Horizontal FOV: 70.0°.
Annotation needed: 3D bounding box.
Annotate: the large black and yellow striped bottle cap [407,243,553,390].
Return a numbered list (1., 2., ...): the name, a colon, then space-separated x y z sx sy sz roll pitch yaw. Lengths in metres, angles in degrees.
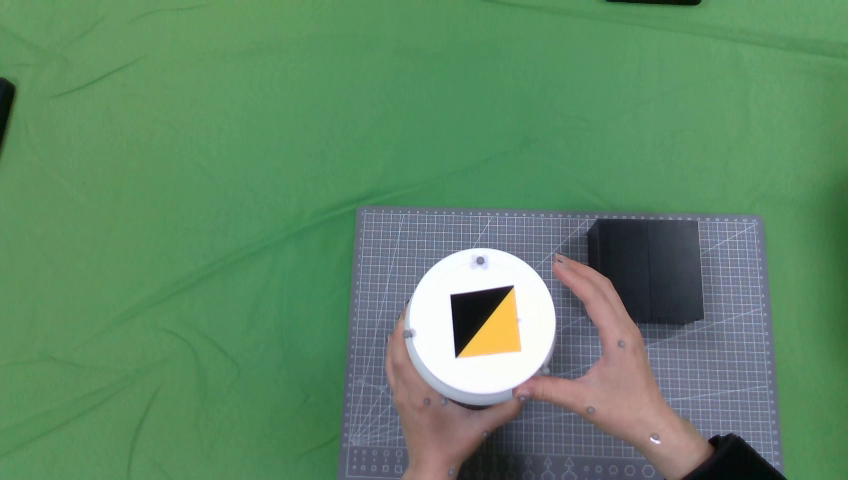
1. large black and yellow striped bottle cap: 0.044 0.059 0.475 0.115 0.019 0.114 -1 78 4

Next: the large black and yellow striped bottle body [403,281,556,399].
1. large black and yellow striped bottle body: 0.049 0.080 0.561 0.131 0.185 0.130 -1 77 3
